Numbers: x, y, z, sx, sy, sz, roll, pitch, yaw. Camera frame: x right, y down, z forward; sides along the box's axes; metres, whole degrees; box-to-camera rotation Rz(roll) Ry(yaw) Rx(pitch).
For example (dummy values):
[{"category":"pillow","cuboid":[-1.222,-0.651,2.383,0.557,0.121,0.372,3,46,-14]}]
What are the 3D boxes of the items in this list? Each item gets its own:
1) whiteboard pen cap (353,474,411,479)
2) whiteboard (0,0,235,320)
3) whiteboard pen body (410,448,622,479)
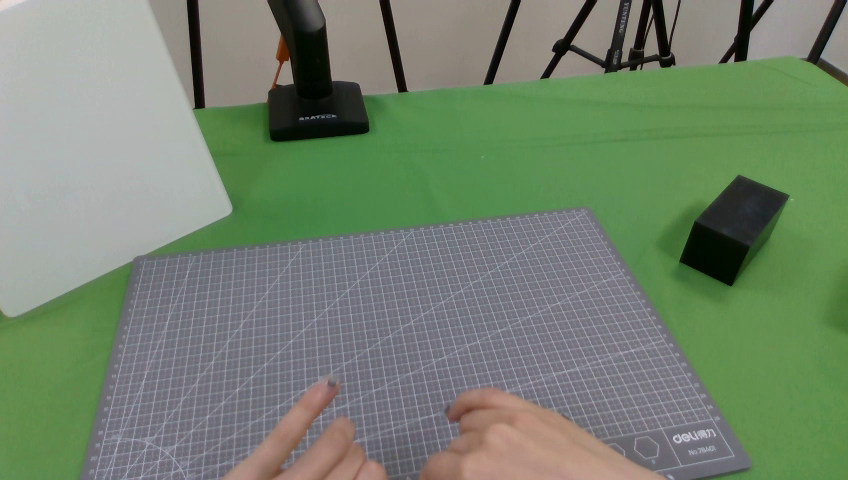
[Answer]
[{"category":"whiteboard pen cap","cuboid":[-0.022,0.135,0.326,0.033,0.018,0.018,-4,41,-3]},{"category":"whiteboard","cuboid":[-0.349,-0.127,0.547,0.217,0.308,0.142,-32,31,-31]},{"category":"whiteboard pen body","cuboid":[0.037,0.130,0.330,0.141,0.017,0.017,-7,41,-3]}]
